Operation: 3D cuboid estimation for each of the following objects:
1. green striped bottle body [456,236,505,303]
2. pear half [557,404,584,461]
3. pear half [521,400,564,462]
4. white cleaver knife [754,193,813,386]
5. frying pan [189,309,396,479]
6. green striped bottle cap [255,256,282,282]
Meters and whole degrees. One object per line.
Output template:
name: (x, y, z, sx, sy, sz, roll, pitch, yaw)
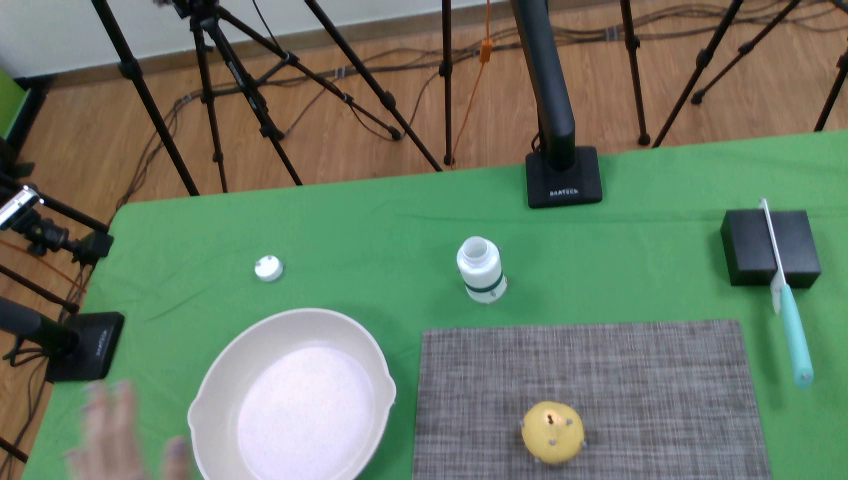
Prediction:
green striped bottle body: (0.084, 0.041, 0.903, 0.063, 0.120, 0.062, -6, 58, 10)
pear half: (0.187, 0.243, 0.767, 0.031, 0.089, 0.070, -1, 55, 16)
pear half: (0.150, 0.237, 0.769, 0.056, 0.111, 0.075, 1, 54, 14)
white cleaver knife: (0.484, 0.060, 0.822, 0.021, 0.066, 0.284, -5, 56, 19)
frying pan: (-0.182, 0.322, 0.807, 0.306, 0.104, 0.483, -8, 49, 10)
green striped bottle cap: (-0.268, 0.050, 1.045, 0.044, 0.020, 0.044, -7, 58, 11)
